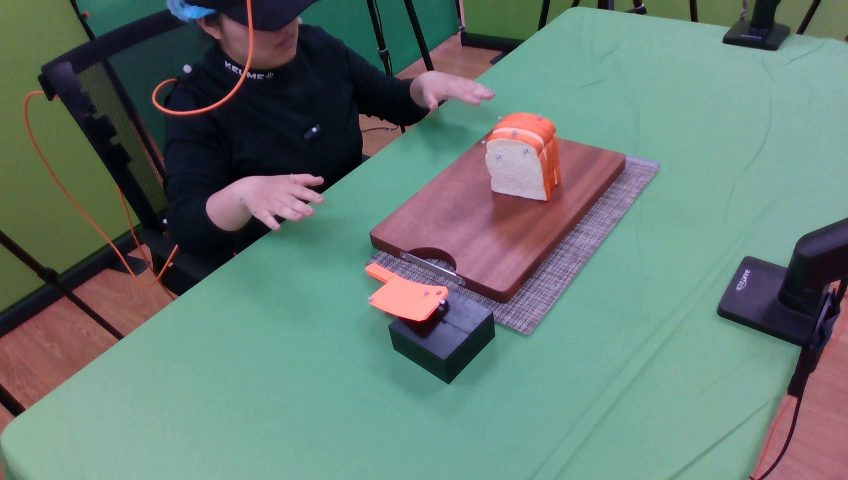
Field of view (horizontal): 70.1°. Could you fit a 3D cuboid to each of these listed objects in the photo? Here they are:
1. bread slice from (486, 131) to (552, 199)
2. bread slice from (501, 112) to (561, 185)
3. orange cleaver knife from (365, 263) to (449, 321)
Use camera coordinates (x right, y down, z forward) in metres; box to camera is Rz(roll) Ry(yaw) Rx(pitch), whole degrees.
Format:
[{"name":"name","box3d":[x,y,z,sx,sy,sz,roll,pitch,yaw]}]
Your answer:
[{"name":"bread slice","box3d":[0.149,-0.119,0.973,0.104,0.132,0.019,11,54,27]},{"name":"bread slice","box3d":[0.176,-0.150,1.002,0.106,0.135,0.018,16,51,23]},{"name":"orange cleaver knife","box3d":[-0.042,0.072,0.870,0.077,0.012,0.209,-37,28,-23]}]
